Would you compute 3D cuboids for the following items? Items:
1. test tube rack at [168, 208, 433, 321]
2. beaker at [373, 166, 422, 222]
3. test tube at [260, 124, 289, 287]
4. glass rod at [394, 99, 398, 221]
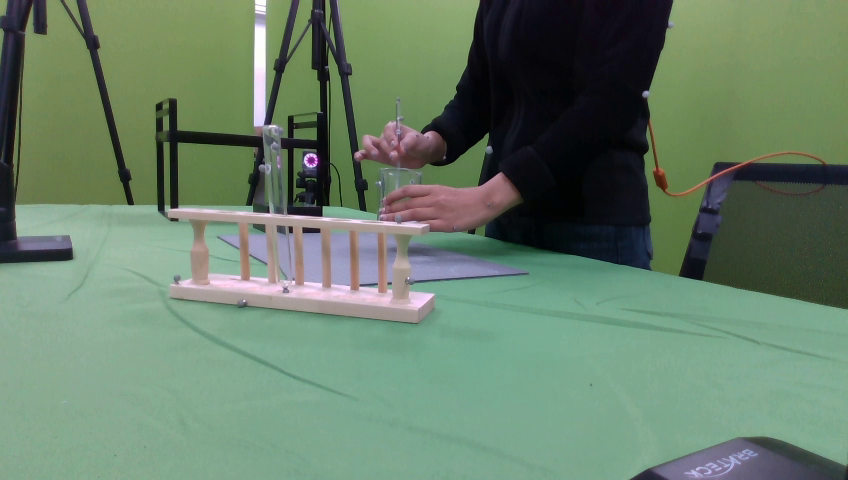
[{"bbox_3d":[-0.115,0.017,0.574,0.242,0.085,0.067,4,8,13],"label":"test tube rack"},{"bbox_3d":[-0.038,-0.062,0.948,0.083,0.100,0.074,1,1,42],"label":"beaker"},{"bbox_3d":[-0.137,-0.031,0.556,0.017,0.150,0.017,-3,6,1],"label":"test tube"},{"bbox_3d":[-0.043,-0.122,0.939,0.008,0.199,0.008,0,-7,0],"label":"glass rod"}]
